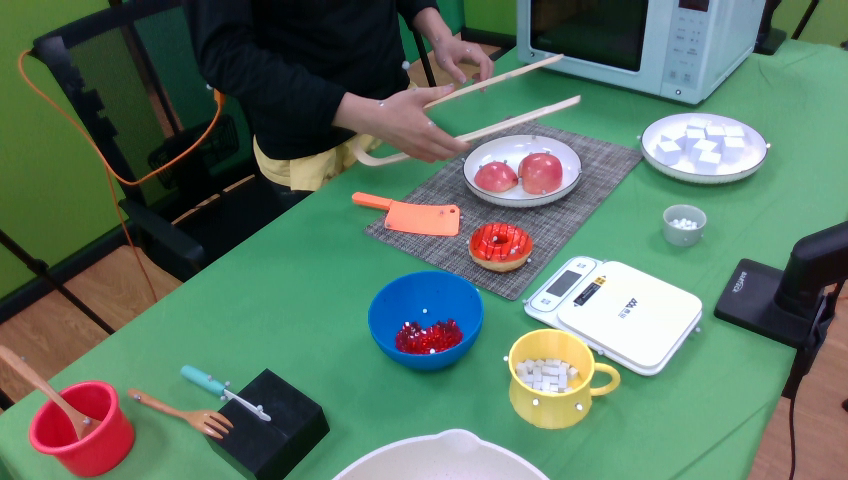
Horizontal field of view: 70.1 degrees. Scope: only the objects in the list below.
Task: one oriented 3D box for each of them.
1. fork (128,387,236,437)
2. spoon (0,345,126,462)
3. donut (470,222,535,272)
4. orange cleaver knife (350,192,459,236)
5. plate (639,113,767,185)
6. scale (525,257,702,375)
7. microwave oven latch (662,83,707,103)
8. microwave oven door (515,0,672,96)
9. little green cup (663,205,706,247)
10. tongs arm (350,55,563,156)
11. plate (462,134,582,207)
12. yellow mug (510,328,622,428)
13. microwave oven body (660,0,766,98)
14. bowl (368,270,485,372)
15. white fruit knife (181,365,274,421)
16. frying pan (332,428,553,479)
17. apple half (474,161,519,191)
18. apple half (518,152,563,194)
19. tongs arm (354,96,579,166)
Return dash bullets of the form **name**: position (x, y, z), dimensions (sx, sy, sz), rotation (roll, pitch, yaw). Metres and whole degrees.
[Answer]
- **fork**: position (-0.305, 0.207, 0.744), dimensions (0.206, 0.019, 0.028), rotation (3, 41, 36)
- **spoon**: position (-0.434, 0.191, 0.720), dimensions (0.194, 0.021, 0.042), rotation (47, 54, -7)
- **donut**: position (0.119, 0.009, 0.923), dimensions (0.099, 0.048, 0.098), rotation (-4, 38, 3)
- **orange cleaver knife**: position (-0.037, -0.044, 1.028), dimensions (0.210, 0.012, 0.077), rotation (11, 49, 17)
- **plate**: position (0.489, -0.157, 1.074), dimensions (0.207, 0.039, 0.206), rotation (-4, 40, 4)
- **scale**: position (0.254, 0.091, 0.821), dimensions (0.199, 0.032, 0.149), rotation (28, 51, 35)
- **microwave oven latch**: position (0.517, -0.296, 1.204), dimensions (0.078, 0.029, 0.030), rotation (27, 52, 35)
- **microwave oven door**: position (0.343, -0.454, 1.259), dimensions (0.353, 0.245, 0.039), rotation (26, 51, 33)
- **little green cup**: position (0.396, -0.020, 0.926), dimensions (0.061, 0.039, 0.061), rotation (-4, 40, 4)
- **tongs arm**: position (0.033, -0.194, 0.911), dimensions (0.382, 0.051, 0.026), rotation (-10, 30, 33)
- **plate**: position (0.173, -0.119, 1.070), dimensions (0.209, 0.038, 0.208), rotation (-4, 40, 4)
- **yellow mug**: position (0.168, 0.164, 0.722), dimensions (0.130, 0.064, 0.099), rotation (0, 40, 8)
- **microwave oven body**: position (0.472, -0.513, 1.317), dimensions (0.438, 0.261, 0.327), rotation (26, 51, 34)
- **bowl**: position (0.007, 0.118, 0.791), dimensions (0.151, 0.077, 0.150), rotation (-4, 40, 4)
- **white fruit knife**: position (-0.245, 0.187, 0.747), dimensions (0.205, 0.027, 0.016), rotation (9, 41, 40)
- **frying pan**: position (-0.089, 0.306, 0.564), dimensions (0.487, 0.103, 0.306), rotation (10, 41, 7)
- **apple half**: position (0.130, -0.119, 1.067), dimensions (0.081, 0.033, 0.081), rotation (-4, 36, 3)
- **apple half**: position (0.203, -0.123, 1.047), dimensions (0.075, 0.053, 0.080), rotation (-2, 41, 1)
- **tongs arm**: position (0.050, -0.163, 0.926), dimensions (0.385, 0.028, 0.028), rotation (-10, 33, 33)
